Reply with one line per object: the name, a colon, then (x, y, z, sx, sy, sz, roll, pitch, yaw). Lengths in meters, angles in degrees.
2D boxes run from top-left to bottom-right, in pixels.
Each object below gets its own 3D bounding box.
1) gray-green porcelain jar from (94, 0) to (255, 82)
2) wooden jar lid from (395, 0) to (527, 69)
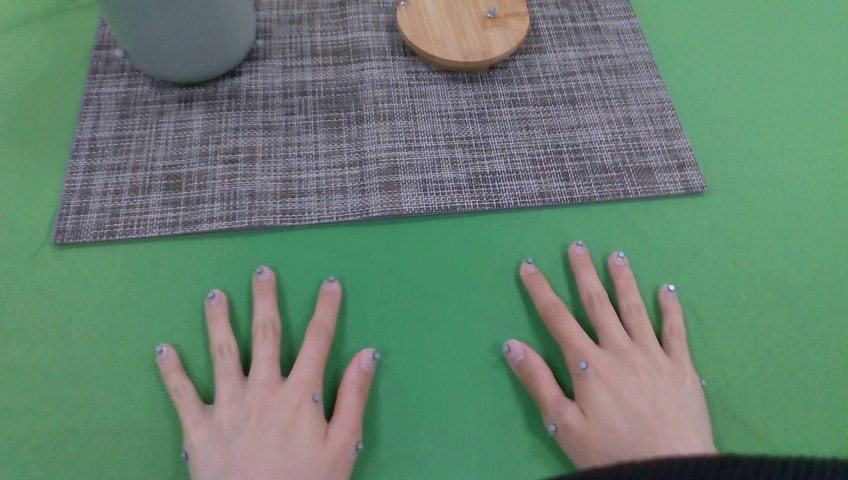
gray-green porcelain jar: (-0.182, -0.187, 0.432, 0.106, 0.127, 0.105, 1, 60, -1)
wooden jar lid: (0.030, -0.181, 0.499, 0.108, 0.021, 0.107, 1, 59, -1)
